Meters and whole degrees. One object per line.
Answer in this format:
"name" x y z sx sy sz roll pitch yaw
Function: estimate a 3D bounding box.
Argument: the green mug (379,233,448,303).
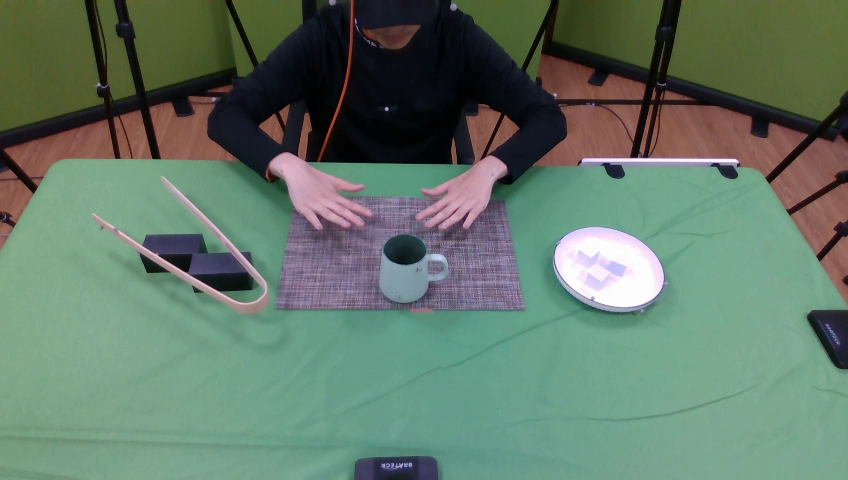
"green mug" -0.019 0.050 1.084 0.125 0.105 0.092 -1 46 -4

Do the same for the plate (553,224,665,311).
"plate" 0.349 0.055 1.159 0.209 0.038 0.208 2 47 -2

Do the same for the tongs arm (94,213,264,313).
"tongs arm" -0.437 0.032 1.063 0.383 0.026 0.050 29 47 22

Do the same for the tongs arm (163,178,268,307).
"tongs arm" -0.387 -0.008 1.108 0.028 0.028 0.385 -27 53 -36
